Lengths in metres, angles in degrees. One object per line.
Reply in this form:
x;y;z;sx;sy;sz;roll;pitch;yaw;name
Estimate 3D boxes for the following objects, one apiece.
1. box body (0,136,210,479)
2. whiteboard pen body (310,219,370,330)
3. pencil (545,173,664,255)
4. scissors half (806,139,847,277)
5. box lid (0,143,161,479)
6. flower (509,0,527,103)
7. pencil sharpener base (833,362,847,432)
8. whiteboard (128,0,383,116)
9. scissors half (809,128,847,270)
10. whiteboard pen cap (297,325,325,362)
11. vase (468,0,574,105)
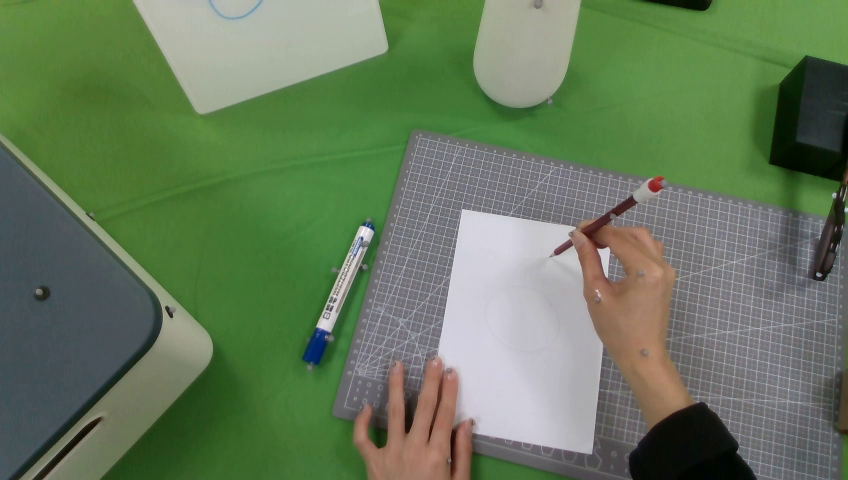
-0.395;0.055;0.500;0.362;0.161;0.254;39;77;11;box body
-0.083;0.043;0.578;0.017;0.017;0.140;19;72;7;whiteboard pen body
0.139;-0.014;0.500;0.012;0.194;0.012;4;72;-11;pencil
0.390;-0.050;0.575;0.012;0.040;0.175;15;92;29;scissors half
-0.397;0.031;0.429;0.370;0.015;0.263;39;76;11;box lid
0.088;-0.252;0.489;0.044;0.365;0.038;6;55;6;flower
0.410;0.136;0.500;0.076;0.107;0.061;17;73;2;pencil sharpener base
-0.187;-0.309;0.571;0.217;0.308;0.142;-20;54;-5;whiteboard
0.381;-0.055;0.557;0.013;0.040;0.174;15;75;24;scissors half
-0.103;0.095;0.559;0.018;0.018;0.033;19;70;7;whiteboard pen cap
0.092;-0.212;0.564;0.098;0.201;0.097;0;71;1;vase
